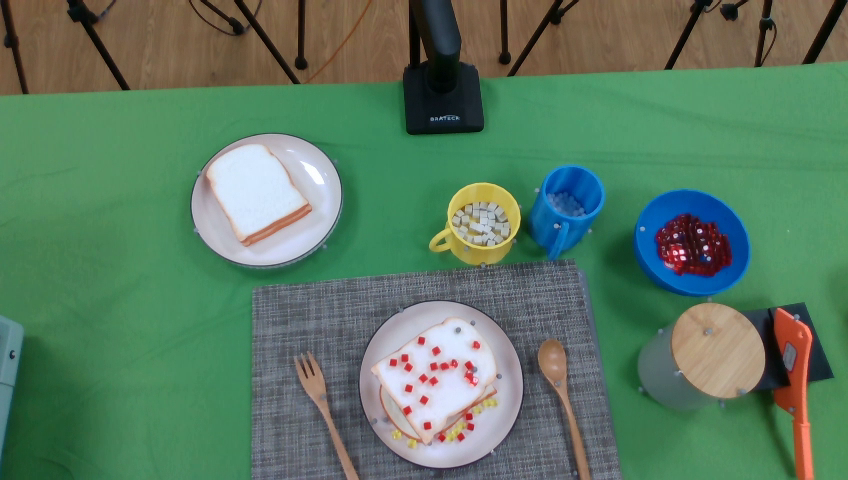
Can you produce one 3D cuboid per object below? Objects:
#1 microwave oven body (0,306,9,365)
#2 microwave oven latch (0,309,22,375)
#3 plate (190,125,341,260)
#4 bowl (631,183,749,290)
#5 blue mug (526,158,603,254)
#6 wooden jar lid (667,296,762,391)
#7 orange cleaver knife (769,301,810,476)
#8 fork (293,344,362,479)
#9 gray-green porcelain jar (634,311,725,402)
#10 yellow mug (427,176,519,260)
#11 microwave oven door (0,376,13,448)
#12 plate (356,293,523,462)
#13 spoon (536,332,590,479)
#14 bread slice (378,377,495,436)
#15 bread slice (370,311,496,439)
[{"bbox_3d":[-0.658,0.260,0.586,0.326,0.261,0.438,-2,69,-3],"label":"microwave oven body"},{"bbox_3d":[-0.523,0.126,0.747,0.030,0.029,0.078,1,69,-2],"label":"microwave oven latch"},{"bbox_3d":[-0.220,-0.065,0.855,0.208,0.039,0.206,1,68,-2],"label":"plate"},{"bbox_3d":[0.348,0.006,0.826,0.151,0.077,0.150,1,69,-2],"label":"bowl"},{"bbox_3d":[0.185,-0.036,0.823,0.082,0.106,0.116,15,69,5],"label":"blue mug"},{"bbox_3d":[0.327,0.118,0.688,0.108,0.021,0.107,1,71,-4],"label":"wooden jar lid"},{"bbox_3d":[0.457,0.184,0.758,0.012,0.077,0.211,-5,95,-3],"label":"orange cleaver knife"},{"bbox_3d":[-0.115,0.225,0.751,0.028,0.019,0.205,-21,69,-18],"label":"fork"},{"bbox_3d":[0.326,0.142,0.746,0.106,0.127,0.105,1,68,-2],"label":"gray-green porcelain jar"},{"bbox_3d":[0.064,-0.023,0.834,0.131,0.064,0.099,-24,70,-10],"label":"yellow mug"},{"bbox_3d":[-0.510,0.291,0.574,0.039,0.245,0.353,-3,68,-3],"label":"microwave oven door"},{"bbox_3d":[0.020,0.171,0.767,0.209,0.038,0.207,1,69,-2],"label":"plate"},{"bbox_3d":[0.179,0.212,0.764,0.042,0.022,0.192,-2,67,-26],"label":"spoon"},{"bbox_3d":[0.011,0.181,0.766,0.131,0.019,0.104,-35,72,-17],"label":"bread slice"},{"bbox_3d":[0.016,0.147,0.713,0.134,0.018,0.106,-37,79,-21],"label":"bread slice"}]
